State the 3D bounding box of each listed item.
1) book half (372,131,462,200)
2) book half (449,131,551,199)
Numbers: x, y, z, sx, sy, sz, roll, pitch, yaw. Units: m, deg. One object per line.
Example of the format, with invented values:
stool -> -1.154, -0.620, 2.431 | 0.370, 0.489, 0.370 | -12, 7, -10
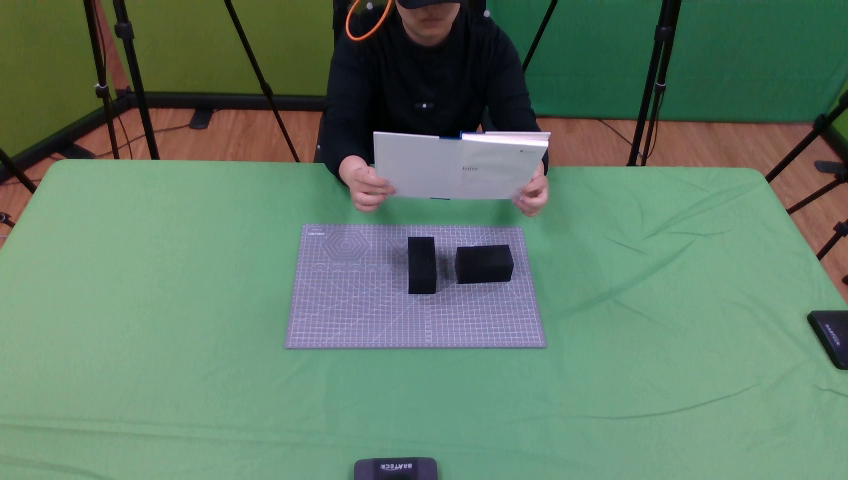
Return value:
book half -> -0.016, -0.124, 1.056 | 0.143, 0.211, 0.007 | 3, 66, -2
book half -> 0.126, -0.127, 1.066 | 0.149, 0.211, 0.016 | 0, 65, -4
